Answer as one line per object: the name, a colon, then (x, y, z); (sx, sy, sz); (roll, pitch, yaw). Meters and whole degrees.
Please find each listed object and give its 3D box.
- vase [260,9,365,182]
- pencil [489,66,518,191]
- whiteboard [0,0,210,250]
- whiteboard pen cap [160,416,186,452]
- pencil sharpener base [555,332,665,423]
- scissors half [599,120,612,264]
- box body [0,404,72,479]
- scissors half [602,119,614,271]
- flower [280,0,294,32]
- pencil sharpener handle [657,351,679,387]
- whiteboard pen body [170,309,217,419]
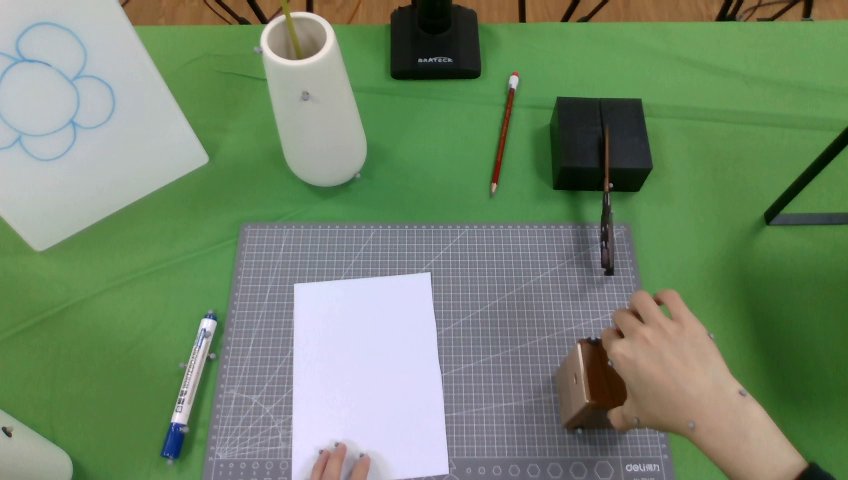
vase: (-0.120, -0.149, 0.654); (0.098, 0.201, 0.097); (0, 62, 1)
pencil: (0.098, -0.143, 0.759); (0.012, 0.012, 0.193); (11, 65, 5)
whiteboard: (-0.413, -0.183, 0.642); (0.217, 0.309, 0.142); (-32, 49, -15)
whiteboard pen cap: (-0.241, 0.187, 0.584); (0.018, 0.018, 0.033); (6, 59, 3)
pencil sharpener base: (0.171, 0.131, 0.567); (0.077, 0.108, 0.061); (-1, 63, -1)
scissors half: (0.197, -0.058, 0.659); (0.013, 0.040, 0.174); (-1, 65, 19)
box body: (-0.529, 0.198, 0.497); (0.363, 0.161, 0.253); (25, 66, 11)
scissors half: (0.205, -0.052, 0.677); (0.012, 0.040, 0.174); (-2, 82, 25)
flower: (-0.127, -0.198, 0.585); (0.044, 0.365, 0.038); (-7, 46, 0)
pencil sharpener handle: (0.222, 0.121, 0.558); (0.030, 0.068, 0.036); (-1, 74, -1)
whiteboard pen body: (-0.235, 0.135, 0.612); (0.017, 0.017, 0.139); (6, 62, 3)
